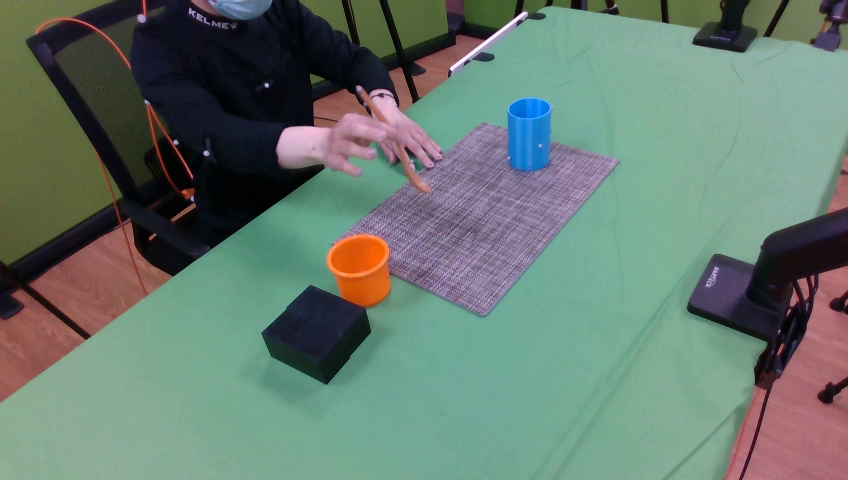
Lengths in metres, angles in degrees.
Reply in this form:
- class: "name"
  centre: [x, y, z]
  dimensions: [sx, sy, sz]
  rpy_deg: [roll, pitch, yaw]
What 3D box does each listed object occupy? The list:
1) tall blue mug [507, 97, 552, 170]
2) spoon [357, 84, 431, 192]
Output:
- class: "tall blue mug"
  centre: [0.179, -0.198, 1.101]
  dimensions: [0.078, 0.108, 0.106]
  rpy_deg: [-36, 49, -28]
- class: "spoon"
  centre: [-0.041, -0.145, 0.876]
  dimensions: [0.021, 0.195, 0.041]
  rpy_deg: [-23, 31, 12]
